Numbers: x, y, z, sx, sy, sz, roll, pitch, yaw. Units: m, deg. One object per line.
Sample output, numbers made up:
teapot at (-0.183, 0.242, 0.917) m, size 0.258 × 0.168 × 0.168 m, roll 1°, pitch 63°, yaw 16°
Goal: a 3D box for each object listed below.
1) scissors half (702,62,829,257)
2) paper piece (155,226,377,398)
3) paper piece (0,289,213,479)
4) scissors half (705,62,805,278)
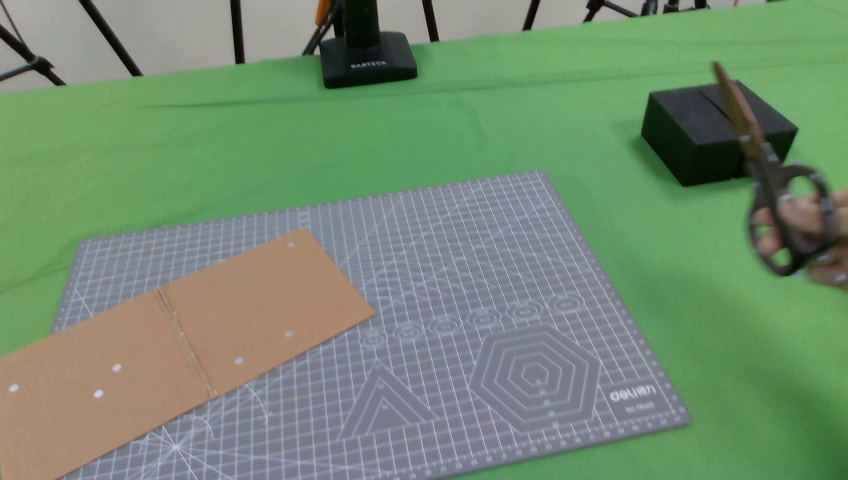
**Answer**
scissors half at (0.224, -0.065, 0.410) m, size 0.013 × 0.040 × 0.173 m, roll -9°, pitch 53°, yaw -2°
paper piece at (-0.131, 0.050, 0.497) m, size 0.138 × 0.009 × 0.134 m, roll -25°, pitch 51°, yaw -23°
paper piece at (-0.242, 0.103, 0.444) m, size 0.136 × 0.004 × 0.134 m, roll -26°, pitch 46°, yaw -22°
scissors half at (0.225, -0.054, 0.428) m, size 0.013 × 0.040 × 0.174 m, roll -6°, pitch 70°, yaw -7°
